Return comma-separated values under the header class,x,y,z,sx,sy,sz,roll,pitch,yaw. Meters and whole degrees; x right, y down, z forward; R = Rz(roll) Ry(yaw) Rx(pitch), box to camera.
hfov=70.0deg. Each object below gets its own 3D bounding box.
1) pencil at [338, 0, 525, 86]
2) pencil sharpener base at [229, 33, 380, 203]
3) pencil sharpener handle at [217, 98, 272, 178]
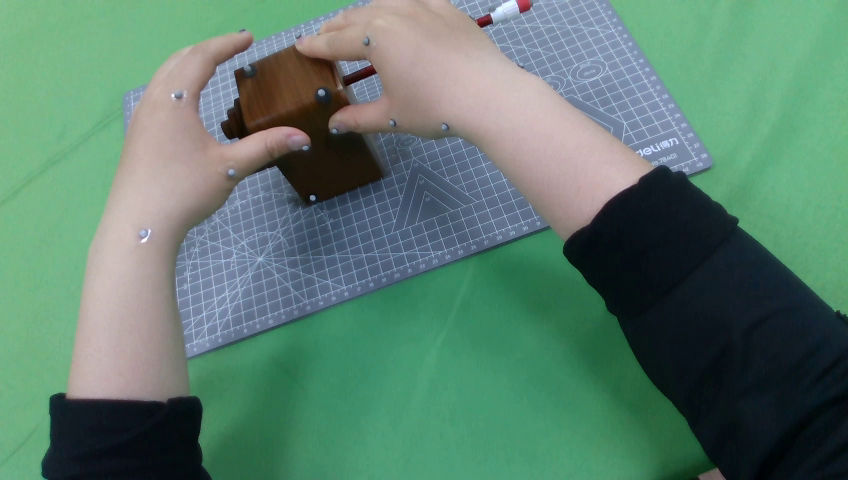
class,x,y,z,sx,sy,sz,roll,pitch,yaw
pencil,-0.020,-0.129,0.426,0.194,0.012,0.012,-23,61,3
pencil sharpener base,-0.088,-0.085,0.454,0.077,0.108,0.061,-23,60,2
pencil sharpener handle,-0.138,-0.071,0.445,0.030,0.068,0.035,-23,59,2
